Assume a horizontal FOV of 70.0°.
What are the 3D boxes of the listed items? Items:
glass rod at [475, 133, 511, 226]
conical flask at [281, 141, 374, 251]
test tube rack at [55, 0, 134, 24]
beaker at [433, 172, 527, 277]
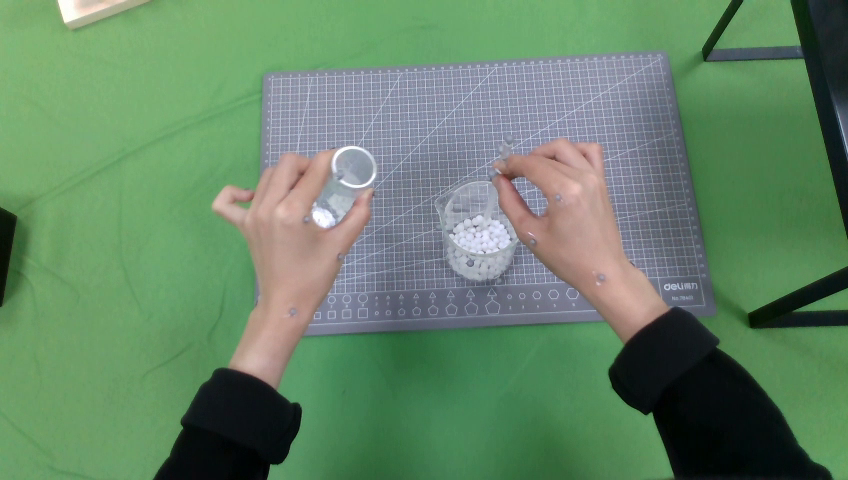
[{"bbox_3d":[0.056,-0.045,0.515,0.008,0.200,0.008,0,74,-1],"label":"glass rod"},{"bbox_3d":[-0.076,-0.042,0.515,0.076,0.122,0.075,7,70,-19],"label":"conical flask"},{"bbox_3d":[-0.321,-0.340,0.688,0.242,0.085,0.066,-23,73,-6],"label":"test tube rack"},{"bbox_3d":[0.049,-0.010,0.566,0.084,0.101,0.073,20,74,9],"label":"beaker"}]
